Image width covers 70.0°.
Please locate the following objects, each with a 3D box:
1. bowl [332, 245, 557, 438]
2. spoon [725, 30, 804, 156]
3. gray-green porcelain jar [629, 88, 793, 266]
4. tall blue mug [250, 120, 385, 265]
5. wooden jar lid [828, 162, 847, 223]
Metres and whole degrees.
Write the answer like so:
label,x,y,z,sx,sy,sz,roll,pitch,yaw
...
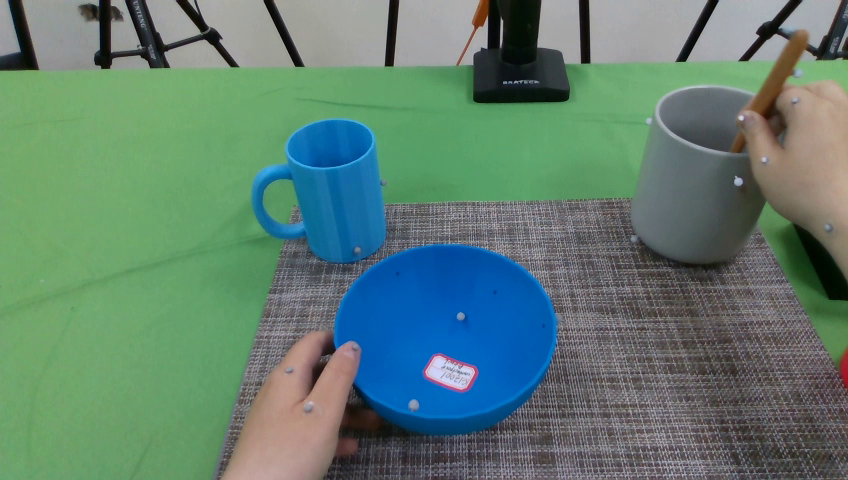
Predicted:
label,x,y,z,sx,sy,sz,roll,pitch,yaw
bowl,0.015,0.082,0.431,0.151,0.077,0.150,-1,43,2
spoon,0.244,-0.073,0.469,0.021,0.195,0.041,-26,57,-15
gray-green porcelain jar,0.238,-0.049,0.523,0.106,0.127,0.105,-2,43,2
tall blue mug,-0.089,-0.034,0.538,0.107,0.109,0.077,-34,52,-28
wooden jar lid,0.394,-0.030,0.503,0.108,0.021,0.107,-2,43,2
